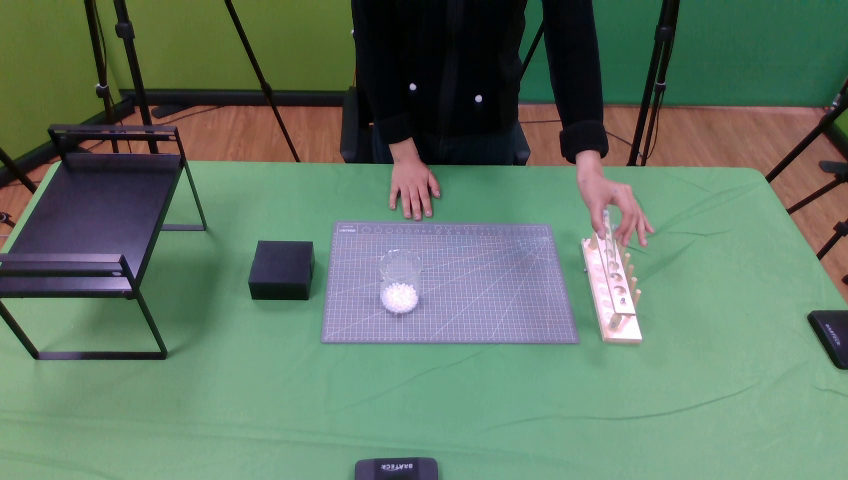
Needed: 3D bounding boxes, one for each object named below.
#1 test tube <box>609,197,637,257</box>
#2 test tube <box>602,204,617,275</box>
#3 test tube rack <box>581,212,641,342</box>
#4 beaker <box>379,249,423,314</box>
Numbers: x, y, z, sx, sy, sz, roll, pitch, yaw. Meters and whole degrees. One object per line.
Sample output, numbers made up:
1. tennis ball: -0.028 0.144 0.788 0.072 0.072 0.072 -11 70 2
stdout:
1. test tube: 0.375 -0.021 1.141 0.017 0.151 0.017 2 44 -1
2. test tube: 0.310 0.003 1.010 0.017 0.151 0.017 -11 39 9
3. test tube rack: 0.351 0.063 1.121 0.067 0.085 0.241 3 46 -1
4. beaker: -0.044 0.074 1.066 0.074 0.101 0.083 -22 51 -23
